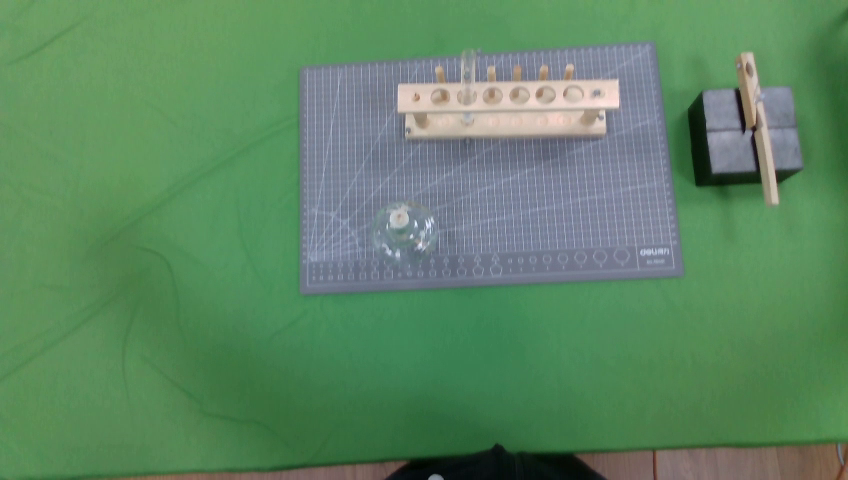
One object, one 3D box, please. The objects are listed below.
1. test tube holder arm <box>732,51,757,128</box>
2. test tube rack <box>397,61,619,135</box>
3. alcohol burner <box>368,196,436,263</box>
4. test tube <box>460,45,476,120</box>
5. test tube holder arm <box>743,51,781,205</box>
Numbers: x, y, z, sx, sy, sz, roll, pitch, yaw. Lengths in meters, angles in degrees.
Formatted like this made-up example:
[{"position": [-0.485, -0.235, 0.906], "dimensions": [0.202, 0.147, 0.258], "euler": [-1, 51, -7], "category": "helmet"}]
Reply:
[{"position": [0.362, -0.169, 0.680], "dimensions": [0.010, 0.015, 0.087], "euler": [-6, 80, -1], "category": "test tube holder arm"}, {"position": [0.094, -0.170, 0.710], "dimensions": [0.242, 0.085, 0.066], "euler": [0, 79, 4], "category": "test tube rack"}, {"position": [-0.025, -0.016, 0.673], "dimensions": [0.078, 0.119, 0.077], "euler": [0, 77, 3], "category": "alcohol burner"}, {"position": [0.047, -0.168, 0.662], "dimensions": [0.017, 0.151, 0.017], "euler": [-1, 77, 3], "category": "test tube"}, {"position": [0.373, -0.126, 0.672], "dimensions": [0.013, 0.015, 0.177], "euler": [-7, 80, -2], "category": "test tube holder arm"}]
